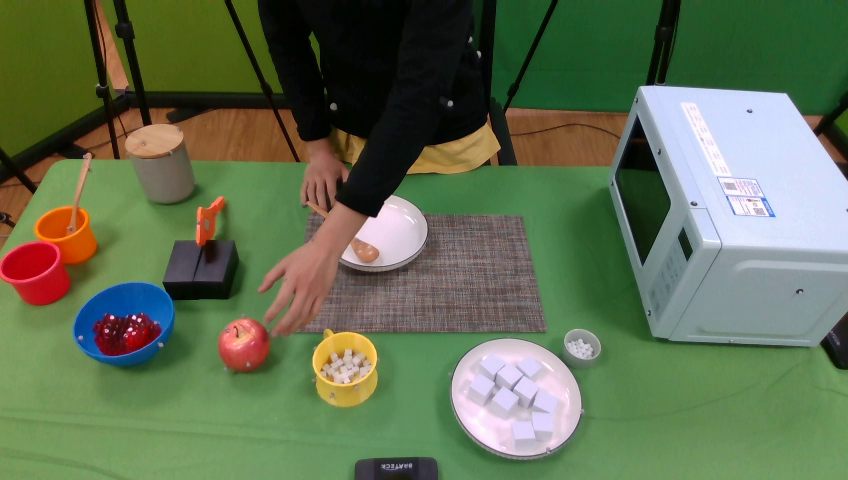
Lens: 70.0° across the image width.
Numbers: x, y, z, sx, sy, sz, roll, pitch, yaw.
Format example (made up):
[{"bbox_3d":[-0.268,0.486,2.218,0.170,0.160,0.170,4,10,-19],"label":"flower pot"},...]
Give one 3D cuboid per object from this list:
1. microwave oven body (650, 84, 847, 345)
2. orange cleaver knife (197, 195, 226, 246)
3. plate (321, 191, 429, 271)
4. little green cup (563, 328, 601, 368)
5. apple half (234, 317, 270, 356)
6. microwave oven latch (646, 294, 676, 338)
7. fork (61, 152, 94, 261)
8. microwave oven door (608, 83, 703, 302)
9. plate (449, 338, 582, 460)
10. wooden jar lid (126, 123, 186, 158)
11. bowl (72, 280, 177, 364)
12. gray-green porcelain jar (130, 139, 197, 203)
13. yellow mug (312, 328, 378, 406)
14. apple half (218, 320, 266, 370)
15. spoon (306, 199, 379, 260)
[{"bbox_3d":[0.569,-0.054,1.116,0.326,0.261,0.439,2,46,-1],"label":"microwave oven body"},{"bbox_3d":[-0.404,-0.041,1.157,0.012,0.077,0.210,2,14,-7],"label":"orange cleaver knife"},{"bbox_3d":[-0.094,-0.015,1.185,0.209,0.038,0.208,2,46,-2],"label":"plate"},{"bbox_3d":[0.265,0.185,1.025,0.061,0.039,0.061,1,45,-1],"label":"little green cup"},{"bbox_3d":[-0.273,0.154,0.991,0.081,0.081,0.033,33,55,25],"label":"apple half"},{"bbox_3d":[0.412,0.133,1.061,0.030,0.029,0.078,4,46,1],"label":"microwave oven latch"},{"bbox_3d":[-0.637,-0.063,1.119,0.028,0.019,0.207,11,90,16],"label":"fork"},{"bbox_3d":[0.424,-0.096,1.138,0.039,0.245,0.353,2,47,-1],"label":"microwave oven door"},{"bbox_3d":[0.141,0.251,0.956,0.208,0.039,0.206,2,46,-2],"label":"plate"},{"bbox_3d":[-0.519,-0.190,1.179,0.108,0.021,0.107,2,44,-2],"label":"wooden jar lid"},{"bbox_3d":[-0.473,0.147,0.982,0.151,0.077,0.150,2,46,-2],"label":"bowl"},{"bbox_3d":[-0.522,-0.148,1.224,0.106,0.127,0.105,2,46,-2],"label":"gray-green porcelain jar"},{"bbox_3d":[-0.132,0.193,0.971,0.100,0.064,0.130,-22,51,-22],"label":"yellow mug"},{"bbox_3d":[-0.298,0.176,0.971,0.080,0.075,0.053,35,57,22],"label":"apple half"},{"bbox_3d":[-0.160,-0.023,1.170,0.193,0.022,0.041,41,61,16],"label":"spoon"}]
